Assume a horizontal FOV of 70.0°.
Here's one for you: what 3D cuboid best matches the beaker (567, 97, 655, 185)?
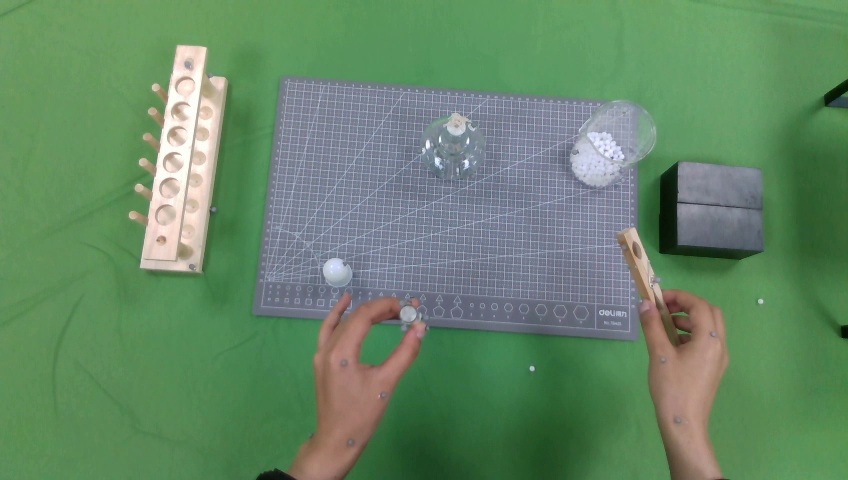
[{"bbox_3d":[0.209,-0.110,0.704,0.084,0.100,0.073,3,78,0],"label":"beaker"}]

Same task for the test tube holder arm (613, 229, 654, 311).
[{"bbox_3d":[0.209,0.029,0.597,0.010,0.015,0.088,-28,100,-11],"label":"test tube holder arm"}]

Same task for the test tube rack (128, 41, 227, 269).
[{"bbox_3d":[-0.284,-0.095,0.688,0.067,0.085,0.241,4,79,-1],"label":"test tube rack"}]

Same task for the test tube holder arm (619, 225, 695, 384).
[{"bbox_3d":[0.234,0.066,0.606,0.013,0.015,0.179,-29,100,-11],"label":"test tube holder arm"}]

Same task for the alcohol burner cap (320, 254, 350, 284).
[{"bbox_3d":[-0.103,0.031,0.691,0.034,0.048,0.033,1,79,-3],"label":"alcohol burner cap"}]

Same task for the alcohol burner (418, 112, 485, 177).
[{"bbox_3d":[0.032,-0.116,0.689,0.078,0.119,0.077,0,79,0],"label":"alcohol burner"}]

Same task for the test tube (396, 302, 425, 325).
[{"bbox_3d":[-0.010,0.068,0.550,0.017,0.151,0.017,0,81,3],"label":"test tube"}]
